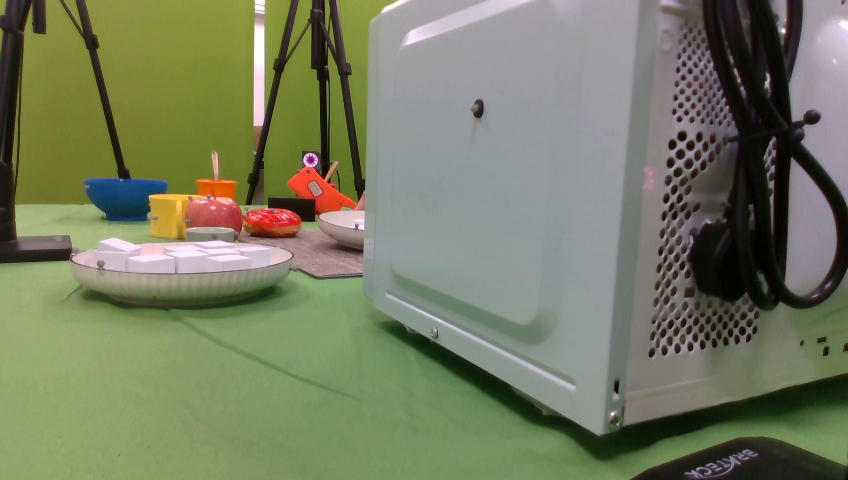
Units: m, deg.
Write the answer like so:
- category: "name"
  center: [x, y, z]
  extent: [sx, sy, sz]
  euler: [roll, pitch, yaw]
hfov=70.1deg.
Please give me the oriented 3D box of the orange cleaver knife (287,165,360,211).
- category: "orange cleaver knife"
  center: [-0.210, -0.093, 1.382]
  extent: [0.212, 0.077, 0.012]
  euler: [33, 1, -15]

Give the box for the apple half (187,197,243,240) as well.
- category: "apple half"
  center: [-0.305, -0.026, 0.907]
  extent: [0.053, 0.074, 0.081]
  euler: [12, 8, 31]

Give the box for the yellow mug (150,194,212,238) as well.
- category: "yellow mug"
  center: [-0.401, -0.040, 1.003]
  extent: [0.100, 0.064, 0.130]
  euler: [0, 9, -20]

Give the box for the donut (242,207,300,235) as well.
- category: "donut"
  center: [-0.263, -0.031, 1.039]
  extent: [0.099, 0.048, 0.099]
  euler: [4, 9, 0]

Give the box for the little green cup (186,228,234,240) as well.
- category: "little green cup"
  center: [-0.284, 0.005, 0.805]
  extent: [0.061, 0.038, 0.061]
  euler: [2, 8, 0]

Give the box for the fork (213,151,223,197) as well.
- category: "fork"
  center: [-0.494, -0.143, 1.442]
  extent: [0.028, 0.018, 0.206]
  euler: [-2, 52, -20]

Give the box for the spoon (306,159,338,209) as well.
- category: "spoon"
  center: [-0.257, -0.147, 1.567]
  extent: [0.041, 0.022, 0.193]
  euler: [2, 51, 19]

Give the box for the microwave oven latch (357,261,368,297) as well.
- category: "microwave oven latch"
  center: [-0.019, 0.033, 0.531]
  extent: [0.079, 0.029, 0.030]
  euler: [-1, 7, -27]

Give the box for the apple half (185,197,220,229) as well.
- category: "apple half"
  center: [-0.338, -0.031, 0.927]
  extent: [0.032, 0.081, 0.081]
  euler: [12, 12, 31]

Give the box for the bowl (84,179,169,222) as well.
- category: "bowl"
  center: [-0.584, -0.078, 1.194]
  extent: [0.151, 0.077, 0.151]
  euler: [3, 8, 0]

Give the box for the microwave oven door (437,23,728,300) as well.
- category: "microwave oven door"
  center: [0.181, -0.072, 0.621]
  extent: [0.358, 0.243, 0.039]
  euler: [-2, 8, -29]

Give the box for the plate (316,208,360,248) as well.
- category: "plate"
  center: [-0.067, -0.016, 0.962]
  extent: [0.209, 0.038, 0.209]
  euler: [6, 11, -1]

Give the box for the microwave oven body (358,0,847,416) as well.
- category: "microwave oven body"
  center: [0.211, -0.047, 0.475]
  extent: [0.444, 0.260, 0.324]
  euler: [-1, 7, -28]

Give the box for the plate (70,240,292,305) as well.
- category: "plate"
  center: [-0.242, 0.031, 0.618]
  extent: [0.208, 0.039, 0.207]
  euler: [2, 8, 0]
